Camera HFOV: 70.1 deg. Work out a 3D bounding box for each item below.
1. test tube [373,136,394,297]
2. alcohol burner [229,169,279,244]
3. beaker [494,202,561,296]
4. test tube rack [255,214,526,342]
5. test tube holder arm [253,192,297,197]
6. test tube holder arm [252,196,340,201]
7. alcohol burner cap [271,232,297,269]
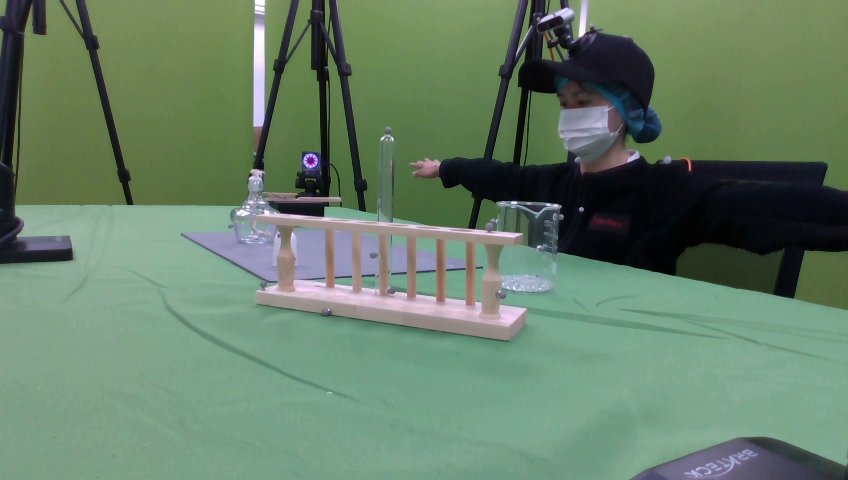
[{"bbox_3d":[-0.038,-0.021,0.564,0.017,0.150,0.017,2,6,0],"label":"test tube"},{"bbox_3d":[-0.268,-0.053,0.958,0.078,0.119,0.078,2,5,0],"label":"alcohol burner"},{"bbox_3d":[0.116,0.009,0.687,0.074,0.100,0.084,2,8,-4],"label":"beaker"},{"bbox_3d":[-0.032,0.027,0.546,0.241,0.085,0.067,5,7,21],"label":"test tube rack"},{"bbox_3d":[-0.301,-0.092,1.223,0.088,0.010,0.015,0,7,-25],"label":"test tube holder arm"},{"bbox_3d":[-0.260,-0.086,1.242,0.179,0.013,0.015,-1,7,-25],"label":"test tube holder arm"},{"bbox_3d":[-0.175,0.012,0.760,0.034,0.048,0.034,3,8,0],"label":"alcohol burner cap"}]
